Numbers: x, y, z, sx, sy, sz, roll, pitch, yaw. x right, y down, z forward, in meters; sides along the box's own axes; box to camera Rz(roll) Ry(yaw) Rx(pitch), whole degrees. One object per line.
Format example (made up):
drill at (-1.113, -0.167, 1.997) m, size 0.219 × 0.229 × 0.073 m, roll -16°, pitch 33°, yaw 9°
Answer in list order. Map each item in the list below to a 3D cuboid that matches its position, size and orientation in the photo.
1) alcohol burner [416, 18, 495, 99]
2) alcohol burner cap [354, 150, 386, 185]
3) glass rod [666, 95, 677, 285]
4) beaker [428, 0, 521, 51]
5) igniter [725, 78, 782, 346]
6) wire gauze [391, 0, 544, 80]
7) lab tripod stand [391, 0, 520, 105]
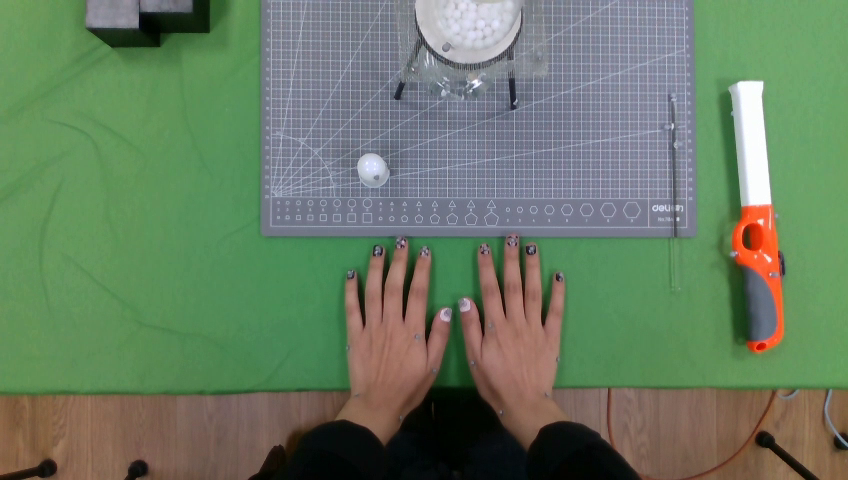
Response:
alcohol burner at (0.031, -0.178, 0.573) m, size 0.078 × 0.119 × 0.078 m, roll 0°, pitch 86°, yaw -1°
alcohol burner cap at (-0.054, -0.074, 0.603) m, size 0.034 × 0.048 × 0.034 m, roll 0°, pitch 88°, yaw -2°
glass rod at (0.258, -0.052, 0.631) m, size 0.008 × 0.008 × 0.199 m, roll -1°, pitch 88°, yaw -2°
beaker at (0.039, -0.193, 0.450) m, size 0.074 × 0.100 × 0.084 m, roll -3°, pitch 86°, yaw -2°
igniter at (0.339, -0.029, 0.627) m, size 0.057 × 0.025 × 0.276 m, roll -4°, pitch 89°, yaw -12°
wire gauze at (0.033, -0.193, 0.497) m, size 0.125 × 0.011 × 0.121 m, roll -4°, pitch 87°, yaw -1°
lab tripod stand at (0.032, -0.187, 0.563) m, size 0.148 × 0.131 × 0.148 m, roll 0°, pitch 87°, yaw 0°
